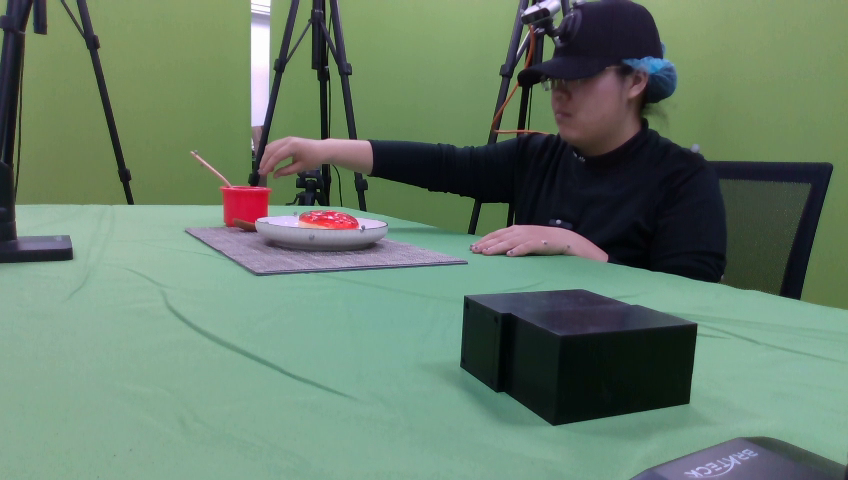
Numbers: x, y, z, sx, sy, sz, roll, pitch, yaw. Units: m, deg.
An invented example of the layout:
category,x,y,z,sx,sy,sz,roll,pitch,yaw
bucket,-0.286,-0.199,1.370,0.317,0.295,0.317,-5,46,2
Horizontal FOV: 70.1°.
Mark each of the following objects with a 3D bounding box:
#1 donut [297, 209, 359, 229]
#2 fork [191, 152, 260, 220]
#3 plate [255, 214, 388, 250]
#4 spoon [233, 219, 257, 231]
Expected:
category,x,y,z,sx,sy,sz,roll,pitch,yaw
donut,-0.151,-0.023,0.955,0.099,0.048,0.099,5,7,0
fork,-0.386,-0.103,1.191,0.207,0.018,0.028,46,15,5
plate,-0.161,-0.013,0.961,0.209,0.038,0.209,2,7,0
spoon,-0.250,-0.028,1.108,0.195,0.021,0.041,-2,-11,-30
